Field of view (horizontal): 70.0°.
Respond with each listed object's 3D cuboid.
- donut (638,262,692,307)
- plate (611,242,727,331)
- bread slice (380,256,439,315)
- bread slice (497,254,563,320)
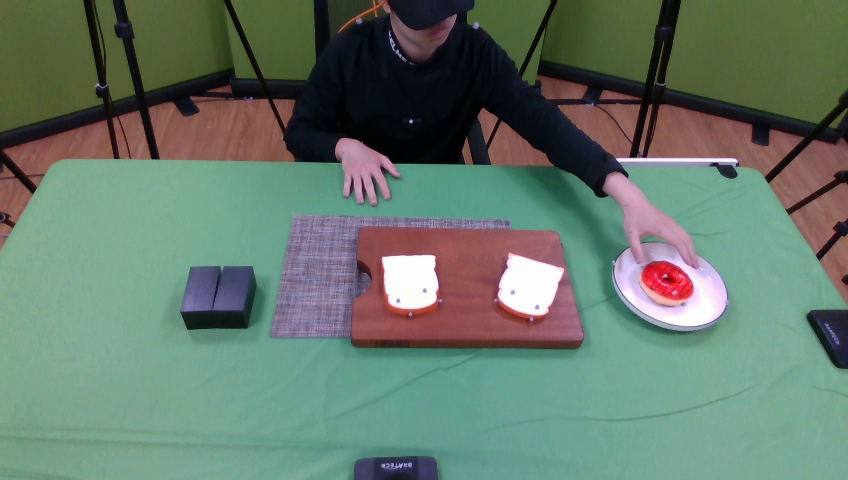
[{"bbox_3d":[0.449,0.083,1.131,0.099,0.048,0.098,6,42,-5],"label":"donut"},{"bbox_3d":[0.455,0.090,1.138,0.209,0.038,0.208,2,45,-2],"label":"plate"},{"bbox_3d":[-0.024,0.079,1.087,0.105,0.019,0.130,-2,45,-5],"label":"bread slice"},{"bbox_3d":[0.189,0.087,1.095,0.107,0.018,0.134,15,46,10],"label":"bread slice"}]
